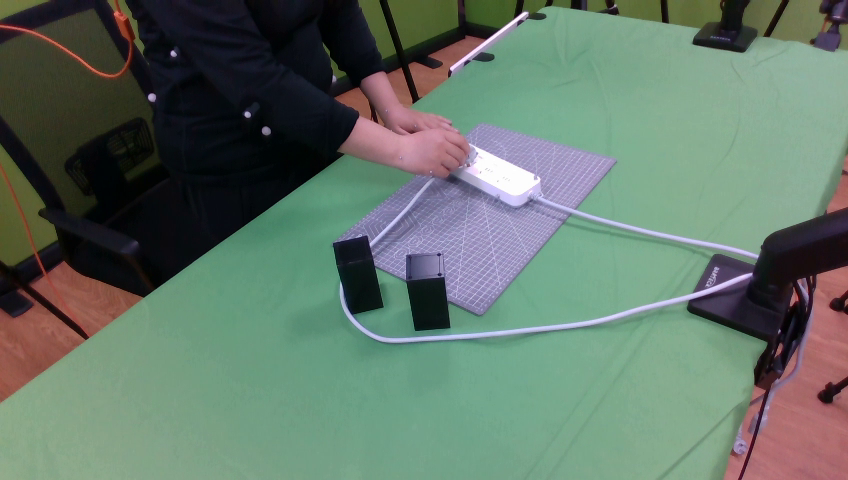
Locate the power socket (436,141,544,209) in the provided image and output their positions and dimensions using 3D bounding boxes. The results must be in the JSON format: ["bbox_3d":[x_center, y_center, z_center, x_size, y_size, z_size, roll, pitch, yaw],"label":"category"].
[{"bbox_3d":[0.112,-0.120,1.082,0.072,0.033,0.224,-34,47,-27],"label":"power socket"}]

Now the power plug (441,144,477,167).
[{"bbox_3d":[0.060,-0.143,1.065,0.072,0.053,0.035,-29,53,-3],"label":"power plug"}]
